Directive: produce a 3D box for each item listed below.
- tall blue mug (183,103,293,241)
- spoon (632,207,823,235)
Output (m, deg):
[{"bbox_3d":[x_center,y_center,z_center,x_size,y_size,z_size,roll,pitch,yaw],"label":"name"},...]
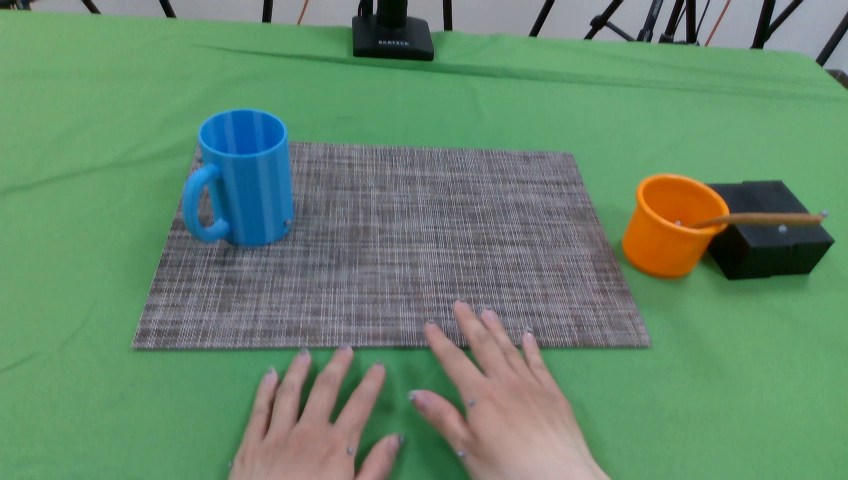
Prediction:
[{"bbox_3d":[-0.168,-0.053,0.566,0.078,0.109,0.106,7,44,-2],"label":"tall blue mug"},{"bbox_3d":[0.278,-0.021,0.578,0.042,0.193,0.021,-16,92,-27],"label":"spoon"}]
